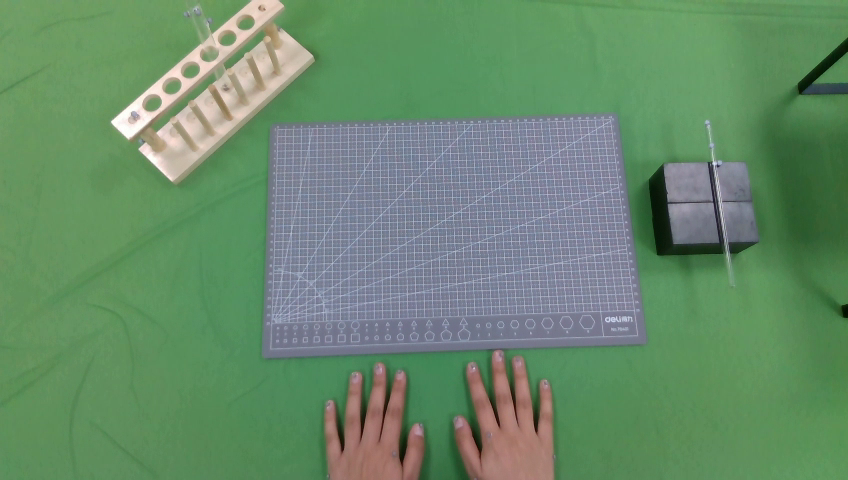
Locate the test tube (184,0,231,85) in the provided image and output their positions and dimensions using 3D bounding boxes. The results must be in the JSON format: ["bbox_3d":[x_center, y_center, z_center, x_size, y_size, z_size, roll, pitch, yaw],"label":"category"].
[{"bbox_3d":[-0.250,-0.228,0.708,0.017,0.151,0.017,1,70,-3],"label":"test tube"}]

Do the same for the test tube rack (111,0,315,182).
[{"bbox_3d":[-0.252,-0.190,0.749,0.066,0.085,0.242,42,78,11],"label":"test tube rack"}]

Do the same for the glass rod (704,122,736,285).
[{"bbox_3d":[0.343,-0.046,0.704,0.008,0.008,0.198,-2,75,-1],"label":"glass rod"}]
